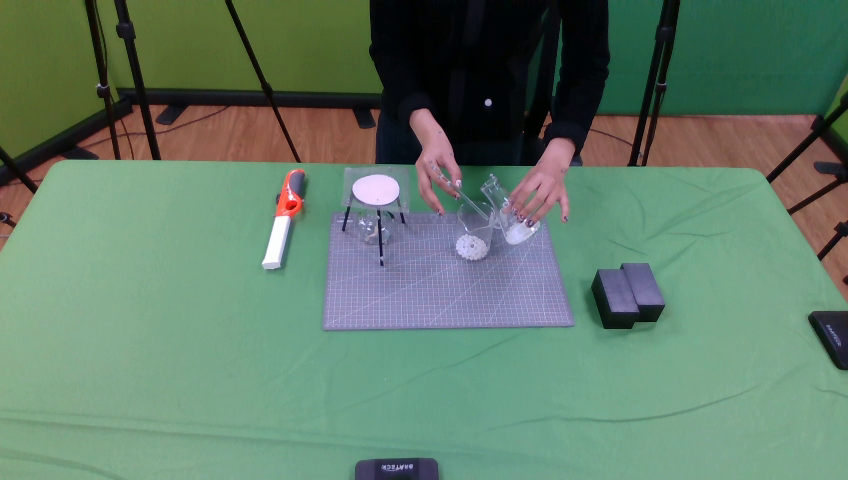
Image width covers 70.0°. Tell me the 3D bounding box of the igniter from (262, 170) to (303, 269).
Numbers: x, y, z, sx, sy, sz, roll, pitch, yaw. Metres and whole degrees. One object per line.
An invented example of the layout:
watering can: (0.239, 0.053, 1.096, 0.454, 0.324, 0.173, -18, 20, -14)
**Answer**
igniter: (-0.283, -0.050, 1.222, 0.057, 0.025, 0.275, -5, 45, 6)

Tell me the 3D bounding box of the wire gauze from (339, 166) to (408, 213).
wire gauze: (-0.091, -0.096, 1.110, 0.125, 0.011, 0.120, 2, 44, -3)

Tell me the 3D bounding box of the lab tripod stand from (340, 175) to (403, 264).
lab tripod stand: (-0.094, -0.050, 1.160, 0.148, 0.132, 0.147, 2, 44, -2)

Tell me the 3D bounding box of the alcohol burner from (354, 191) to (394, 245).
alcohol burner: (-0.096, -0.048, 1.171, 0.078, 0.119, 0.077, 4, 45, -4)

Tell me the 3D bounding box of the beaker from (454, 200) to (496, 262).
beaker: (0.094, -0.012, 1.163, 0.074, 0.101, 0.083, 16, 48, 12)

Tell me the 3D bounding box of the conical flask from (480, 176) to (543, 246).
conical flask: (0.148, -0.055, 1.073, 0.122, 0.075, 0.075, 51, 51, -14)

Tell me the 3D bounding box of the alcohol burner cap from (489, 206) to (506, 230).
alcohol burner cap: (0.152, -0.047, 1.241, 0.034, 0.048, 0.033, 2, 45, -2)

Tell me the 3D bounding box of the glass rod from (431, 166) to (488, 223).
glass rod: (0.067, -0.079, 1.088, 0.008, 0.201, 0.008, -18, 54, 27)
